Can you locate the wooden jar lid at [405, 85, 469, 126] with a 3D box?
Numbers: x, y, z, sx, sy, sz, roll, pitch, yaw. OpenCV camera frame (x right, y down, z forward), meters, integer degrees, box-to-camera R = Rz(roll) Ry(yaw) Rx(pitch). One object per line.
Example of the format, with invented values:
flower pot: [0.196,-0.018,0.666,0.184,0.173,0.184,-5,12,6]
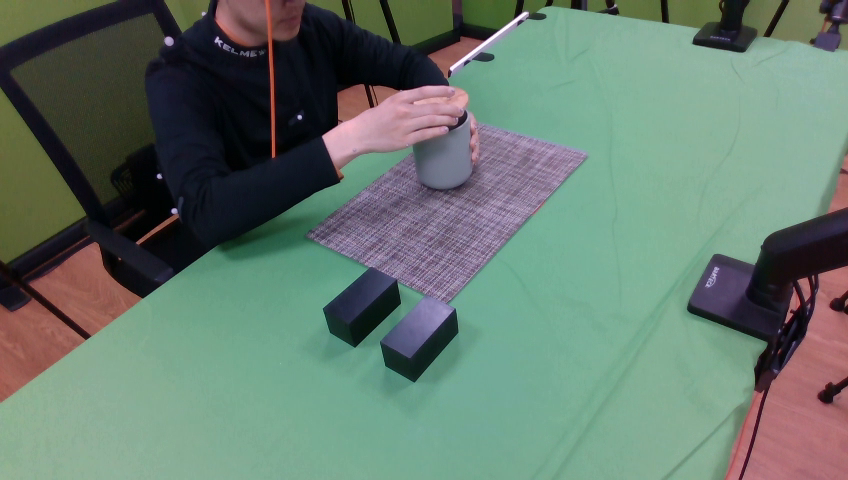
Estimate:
wooden jar lid: [0.022,-0.221,1.001,0.108,0.021,0.108,-8,40,7]

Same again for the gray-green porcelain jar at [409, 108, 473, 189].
gray-green porcelain jar: [0.032,-0.163,1.067,0.106,0.127,0.105,-4,41,4]
